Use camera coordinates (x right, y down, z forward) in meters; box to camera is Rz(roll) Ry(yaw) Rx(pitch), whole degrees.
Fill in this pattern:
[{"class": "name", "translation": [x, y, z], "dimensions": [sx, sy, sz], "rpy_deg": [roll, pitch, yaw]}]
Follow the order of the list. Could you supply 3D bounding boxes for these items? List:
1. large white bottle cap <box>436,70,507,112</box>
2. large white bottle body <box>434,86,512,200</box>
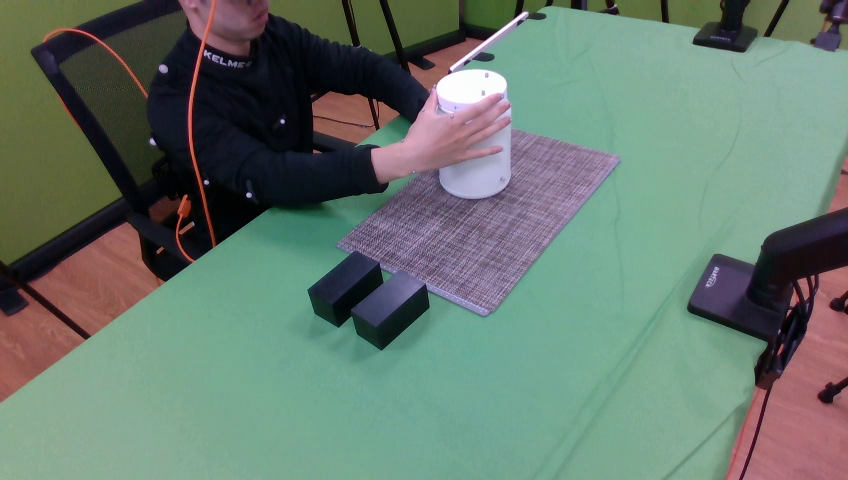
[{"class": "large white bottle cap", "translation": [0.076, -0.241, 0.975], "dimensions": [0.115, 0.018, 0.114], "rpy_deg": [-4, 40, 4]}, {"class": "large white bottle body", "translation": [0.085, -0.177, 1.032], "dimensions": [0.130, 0.185, 0.130], "rpy_deg": [-4, 41, 4]}]
